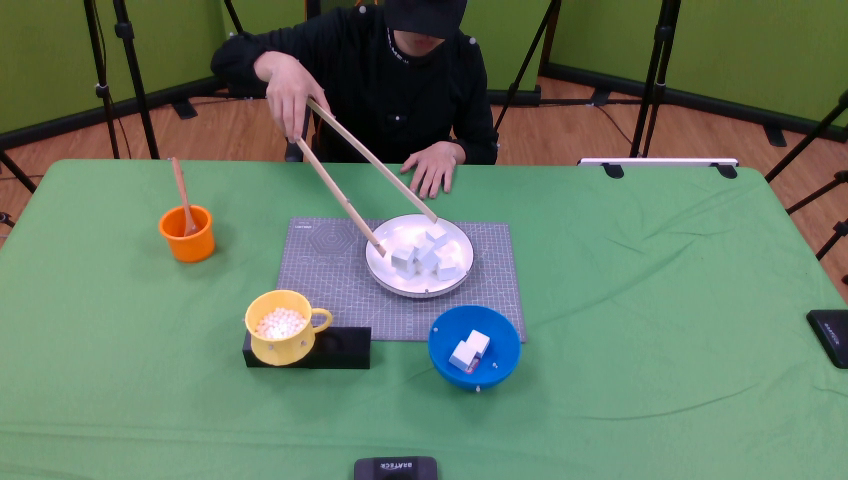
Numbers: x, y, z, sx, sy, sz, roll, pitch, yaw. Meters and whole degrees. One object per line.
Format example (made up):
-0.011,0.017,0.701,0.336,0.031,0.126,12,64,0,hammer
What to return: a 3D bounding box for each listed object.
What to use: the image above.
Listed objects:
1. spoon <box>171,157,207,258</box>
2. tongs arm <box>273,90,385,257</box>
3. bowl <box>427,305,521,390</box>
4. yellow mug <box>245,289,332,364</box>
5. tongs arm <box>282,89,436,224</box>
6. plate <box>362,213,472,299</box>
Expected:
-0.444,-0.061,1.134,0.042,0.194,0.021,-12,5,-19,spoon
-0.172,-0.127,1.096,0.051,0.026,0.383,-32,73,-26,tongs arm
0.077,0.188,0.985,0.151,0.077,0.150,3,46,-3,bowl
-0.210,0.132,0.954,0.131,0.064,0.099,-9,48,-14,yellow mug
-0.123,-0.160,1.129,0.386,0.028,0.028,42,64,11,tongs arm
-0.014,0.034,1.150,0.208,0.039,0.206,3,46,-2,plate
